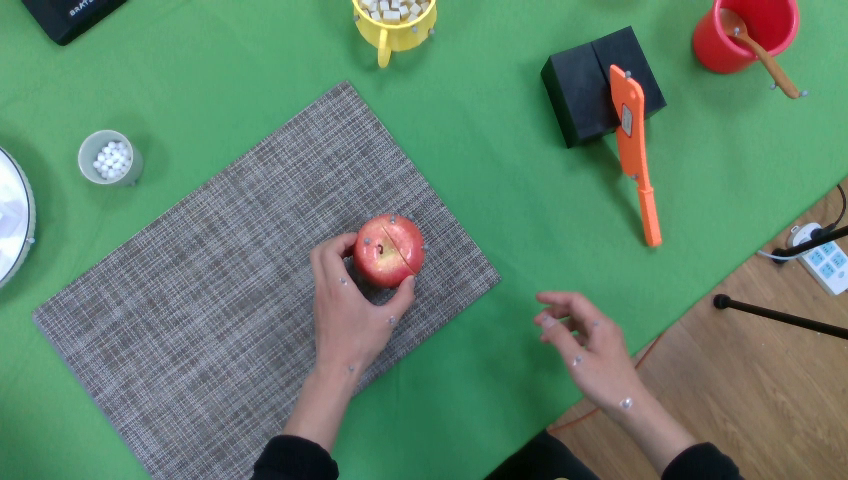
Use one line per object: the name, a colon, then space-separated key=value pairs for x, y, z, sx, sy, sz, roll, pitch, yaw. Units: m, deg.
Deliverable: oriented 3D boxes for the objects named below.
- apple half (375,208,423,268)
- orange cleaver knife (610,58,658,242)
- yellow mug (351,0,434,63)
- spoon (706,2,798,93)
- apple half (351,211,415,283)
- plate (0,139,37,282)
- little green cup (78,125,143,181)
apple half: x=-0.020 y=-0.008 z=0.672 sx=0.033 sy=0.081 sz=0.081 roll=-34 pitch=87 yaw=0
orange cleaver knife: x=0.236 y=-0.098 z=0.687 sx=0.012 sy=0.076 sz=0.213 roll=-18 pitch=117 yaw=0
yellow mug: x=-0.039 y=-0.269 z=0.697 sx=0.100 sy=0.064 sz=0.130 roll=10 pitch=87 yaw=-1
spoon: x=0.361 y=-0.216 z=0.667 sx=0.041 sy=0.022 sz=0.191 roll=-4 pitch=42 yaw=0
apple half: x=-0.052 y=0.015 z=0.671 sx=0.053 sy=0.074 sz=0.081 roll=-33 pitch=90 yaw=2
plate: x=-0.536 y=-0.030 z=0.680 sx=0.208 sy=0.039 sz=0.207 roll=0 pitch=86 yaw=-2
little green cup: x=-0.354 y=-0.096 z=0.690 sx=0.061 sy=0.038 sz=0.061 roll=0 pitch=86 yaw=-1
